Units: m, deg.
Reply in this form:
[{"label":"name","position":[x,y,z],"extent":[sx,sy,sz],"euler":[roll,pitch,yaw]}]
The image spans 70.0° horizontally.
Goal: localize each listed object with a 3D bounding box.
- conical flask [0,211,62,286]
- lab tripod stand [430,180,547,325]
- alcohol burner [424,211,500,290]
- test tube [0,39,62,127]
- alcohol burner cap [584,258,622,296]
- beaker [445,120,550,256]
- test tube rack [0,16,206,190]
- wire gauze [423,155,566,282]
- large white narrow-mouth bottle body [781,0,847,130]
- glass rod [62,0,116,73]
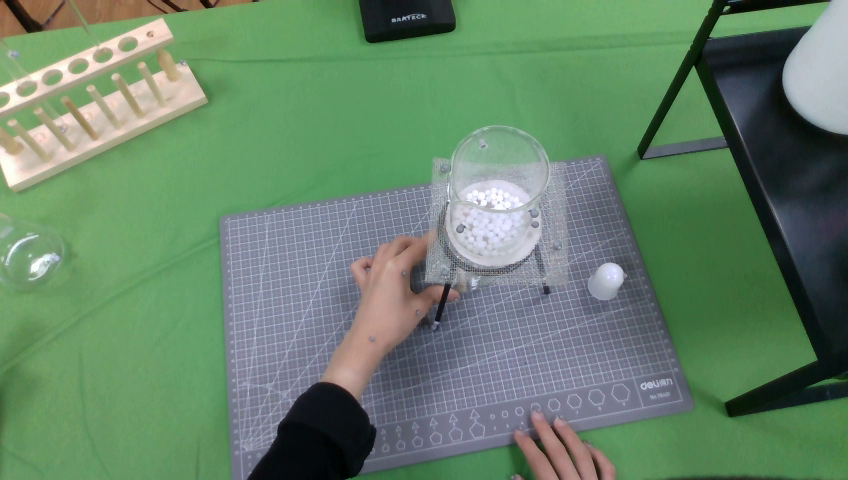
[{"label":"conical flask","position":[-0.434,-0.007,0.612],"extent":[0.075,0.123,0.075],"euler":[0,66,1]},{"label":"lab tripod stand","position":[0.058,0.012,0.590],"extent":[0.148,0.132,0.147],"euler":[0,65,-1]},{"label":"alcohol burner","position":[0.038,0.005,0.605],"extent":[0.078,0.120,0.077],"euler":[0,64,0]},{"label":"test tube","position":[-0.433,-0.174,0.651],"extent":[0.017,0.151,0.017],"euler":[0,59,1]},{"label":"alcohol burner cap","position":[0.188,0.036,0.629],"extent":[0.034,0.048,0.033],"euler":[0,66,1]},{"label":"beaker","position":[0.052,-0.034,0.486],"extent":[0.084,0.101,0.073],"euler":[-32,70,-12]},{"label":"test tube rack","position":[-0.389,-0.158,0.698],"extent":[0.242,0.086,0.066],"euler":[-29,69,-12]},{"label":"wire gauze","position":[0.063,-0.021,0.533],"extent":[0.121,0.011,0.124],"euler":[4,64,-1]},{"label":"large white narrow-mouth bottle body","position":[0.356,-0.172,0.443],"extent":[0.102,0.196,0.101],"euler":[-1,66,2]},{"label":"glass rod","position":[-0.367,-0.226,0.655],"extent":[0.008,0.201,0.008],"euler":[-2,58,3]}]
